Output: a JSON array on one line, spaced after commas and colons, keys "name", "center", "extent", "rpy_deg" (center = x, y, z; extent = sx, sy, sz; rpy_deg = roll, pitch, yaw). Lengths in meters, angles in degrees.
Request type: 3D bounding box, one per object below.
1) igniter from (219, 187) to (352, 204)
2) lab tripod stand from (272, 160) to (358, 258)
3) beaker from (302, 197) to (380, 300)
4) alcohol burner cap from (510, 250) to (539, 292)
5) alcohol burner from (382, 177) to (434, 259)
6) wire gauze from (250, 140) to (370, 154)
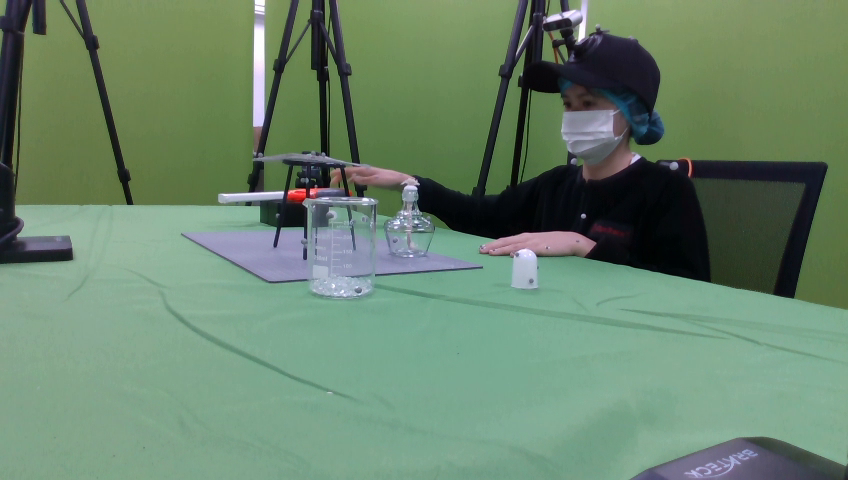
[{"name": "igniter", "center": [-0.280, -0.092, 1.254], "extent": [0.278, 0.025, 0.057], "rpy_deg": [-6, 11, -34]}, {"name": "lab tripod stand", "center": [-0.159, -0.048, 0.876], "extent": [0.148, 0.131, 0.148], "rpy_deg": [3, 5, 0]}, {"name": "beaker", "center": [-0.089, 0.007, 0.625], "extent": [0.084, 0.100, 0.074], "rpy_deg": [4, 7, 16]}, {"name": "alcohol burner cap", "center": [0.118, 0.036, 0.704], "extent": [0.034, 0.048, 0.034], "rpy_deg": [0, 6, 0]}, {"name": "alcohol burner", "center": [-0.023, -0.033, 0.891], "extent": [0.078, 0.119, 0.078], "rpy_deg": [1, 6, 0]}, {"name": "wire gauze", "center": [-0.163, -0.131, 0.867], "extent": [0.124, 0.011, 0.122], "rpy_deg": [-1, 8, 32]}]
